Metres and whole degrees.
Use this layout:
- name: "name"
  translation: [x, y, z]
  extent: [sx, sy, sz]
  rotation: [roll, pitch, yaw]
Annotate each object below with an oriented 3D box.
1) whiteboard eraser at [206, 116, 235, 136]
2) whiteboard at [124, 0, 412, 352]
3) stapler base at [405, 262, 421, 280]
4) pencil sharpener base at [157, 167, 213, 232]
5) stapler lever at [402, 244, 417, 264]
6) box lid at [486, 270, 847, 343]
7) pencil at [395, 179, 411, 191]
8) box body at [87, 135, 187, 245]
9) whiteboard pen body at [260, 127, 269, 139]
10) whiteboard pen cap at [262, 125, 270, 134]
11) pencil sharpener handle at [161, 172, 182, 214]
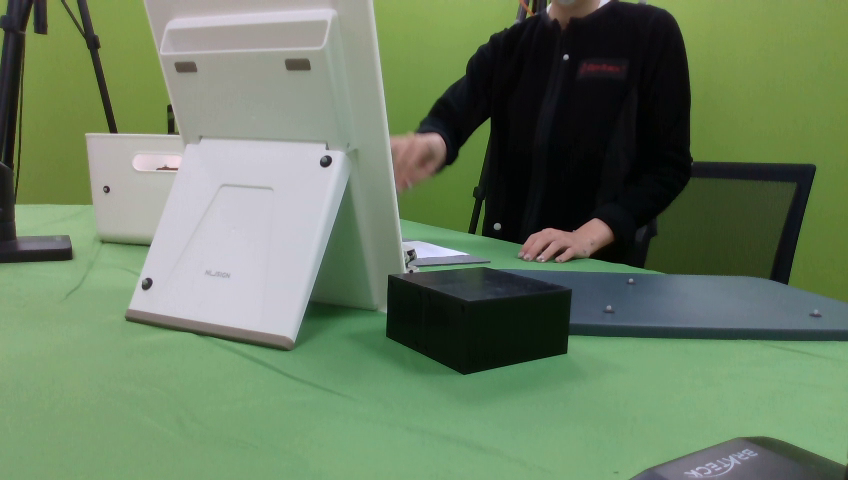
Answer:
- name: "whiteboard eraser"
  translation: [-0.450, -0.252, 1.335]
  extent: [0.056, 0.042, 0.112]
  rotation: [1, 7, -22]
- name: "whiteboard"
  translation: [-0.151, -0.049, 0.472]
  extent: [0.216, 0.305, 0.144]
  rotation: [6, 27, 24]
- name: "stapler base"
  translation: [-0.069, 0.027, 0.759]
  extent: [0.130, 0.024, 0.041]
  rotation: [9, 14, 23]
- name: "pencil sharpener base"
  translation: [-0.406, -0.069, 1.025]
  extent: [0.061, 0.107, 0.077]
  rotation: [2, 8, 9]
- name: "stapler lever"
  translation: [-0.066, 0.003, 0.754]
  extent: [0.117, 0.040, 0.027]
  rotation: [9, 13, 23]
- name: "box lid"
  translation: [0.267, 0.066, 0.643]
  extent: [0.372, 0.015, 0.263]
  rotation: [2, 7, -5]
- name: "pencil"
  translation: [-0.036, -0.080, 0.903]
  extent: [0.012, 0.012, 0.193]
  rotation: [1, 1, -10]
- name: "box body"
  translation: [-0.338, -0.088, 1.022]
  extent: [0.254, 0.160, 0.364]
  rotation: [3, 7, 9]
- name: "whiteboard pen body"
  translation: [-0.366, -0.247, 1.392]
  extent: [0.017, 0.017, 0.140]
  rotation: [0, 3, -17]
- name: "whiteboard pen cap"
  translation: [-0.349, -0.244, 1.337]
  extent: [0.018, 0.018, 0.033]
  rotation: [0, 2, -17]
- name: "pencil sharpener handle"
  translation: [-0.410, -0.075, 0.973]
  extent: [0.036, 0.067, 0.031]
  rotation: [-13, 5, 11]
